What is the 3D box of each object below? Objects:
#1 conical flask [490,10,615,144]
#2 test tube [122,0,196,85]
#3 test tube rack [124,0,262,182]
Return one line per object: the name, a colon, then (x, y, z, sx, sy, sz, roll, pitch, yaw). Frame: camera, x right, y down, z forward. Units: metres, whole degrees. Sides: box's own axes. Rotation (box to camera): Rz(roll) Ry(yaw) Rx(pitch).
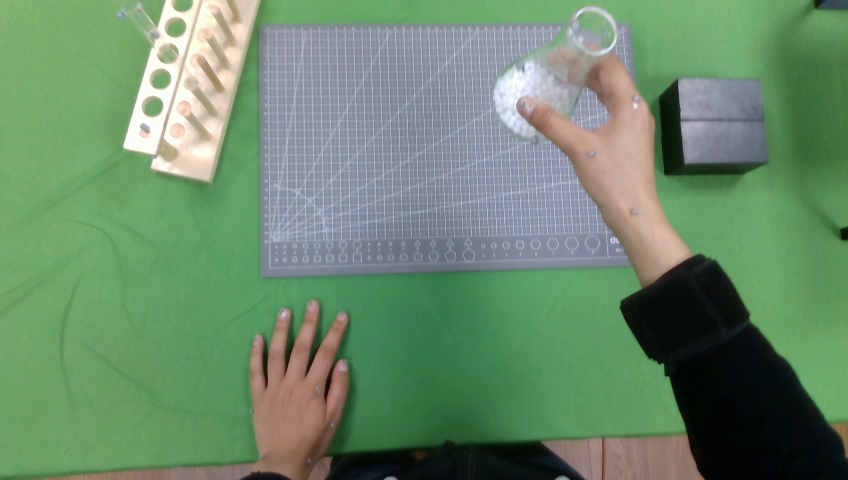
conical flask: (0.102, -0.129, 0.470, 0.075, 0.122, 0.075, 2, 79, -11)
test tube: (-0.265, -0.197, 0.618, 0.017, 0.151, 0.017, 0, 78, 0)
test tube rack: (-0.247, -0.196, 0.668, 0.067, 0.085, 0.241, 13, 81, -2)
